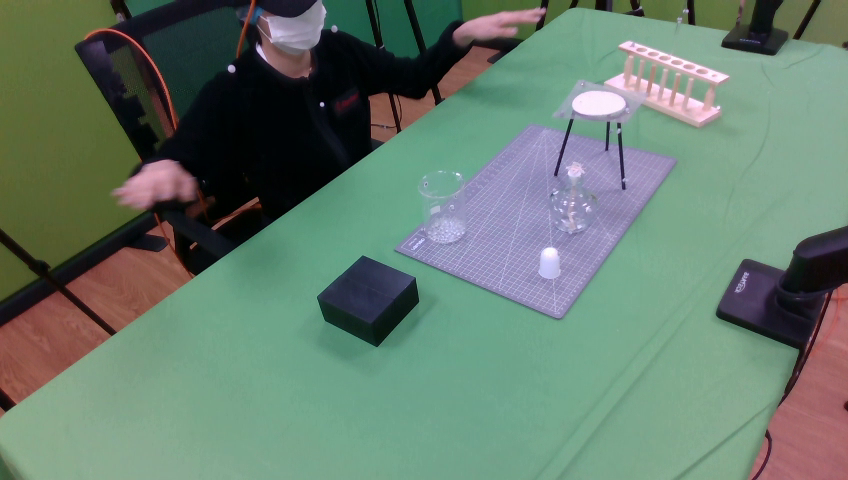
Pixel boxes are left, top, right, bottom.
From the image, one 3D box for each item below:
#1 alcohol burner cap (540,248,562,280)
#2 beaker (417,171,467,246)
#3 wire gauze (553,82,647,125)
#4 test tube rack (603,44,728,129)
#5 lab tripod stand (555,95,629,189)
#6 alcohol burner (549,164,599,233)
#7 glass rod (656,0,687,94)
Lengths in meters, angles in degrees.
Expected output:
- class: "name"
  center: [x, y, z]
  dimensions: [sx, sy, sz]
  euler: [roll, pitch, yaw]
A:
- class: "alcohol burner cap"
  center: [0.187, 0.032, 0.888]
  dimensions: [0.034, 0.048, 0.033]
  euler: [-4, 40, 4]
- class: "beaker"
  center: [0.034, -0.049, 0.965]
  dimensions: [0.084, 0.101, 0.073]
  euler: [-32, 45, -27]
- class: "wire gauze"
  center: [0.293, -0.226, 1.002]
  dimensions: [0.120, 0.011, 0.125]
  euler: [17, 45, 27]
- class: "test tube rack"
  center: [0.480, -0.316, 1.227]
  dimensions: [0.067, 0.085, 0.240]
  euler: [-28, 44, -22]
- class: "lab tripod stand"
  center: [0.300, -0.174, 1.045]
  dimensions: [0.148, 0.132, 0.147]
  euler: [-5, 38, 5]
- class: "alcohol burner"
  center: [0.236, -0.069, 0.946]
  dimensions: [0.078, 0.119, 0.077]
  euler: [-3, 41, 3]
- class: "glass rod"
  center: [0.491, -0.381, 1.199]
  dimensions: [0.008, 0.200, 0.008]
  euler: [1, 41, 0]
